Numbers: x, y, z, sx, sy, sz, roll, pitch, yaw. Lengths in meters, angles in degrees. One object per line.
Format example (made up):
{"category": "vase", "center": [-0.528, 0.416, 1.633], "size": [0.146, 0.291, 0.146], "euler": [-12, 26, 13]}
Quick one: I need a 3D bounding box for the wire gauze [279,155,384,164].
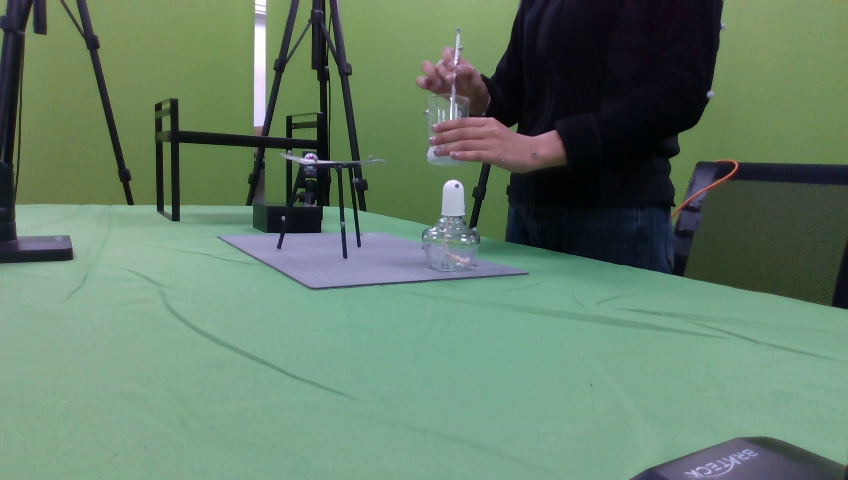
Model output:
{"category": "wire gauze", "center": [-0.134, -0.114, 0.875], "size": [0.122, 0.011, 0.124], "euler": [-2, 9, -30]}

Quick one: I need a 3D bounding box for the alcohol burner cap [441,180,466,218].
{"category": "alcohol burner cap", "center": [0.038, -0.054, 0.781], "size": [0.034, 0.048, 0.034], "euler": [0, 13, 0]}

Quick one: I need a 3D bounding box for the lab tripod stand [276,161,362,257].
{"category": "lab tripod stand", "center": [-0.143, -0.049, 0.884], "size": [0.148, 0.131, 0.148], "euler": [1, 9, 0]}

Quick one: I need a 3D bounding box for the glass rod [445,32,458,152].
{"category": "glass rod", "center": [0.044, -0.234, 0.947], "size": [0.008, 0.199, 0.008], "euler": [5, -10, 1]}

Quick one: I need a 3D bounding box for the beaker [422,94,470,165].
{"category": "beaker", "center": [0.038, -0.173, 0.955], "size": [0.074, 0.100, 0.083], "euler": [2, -4, -44]}

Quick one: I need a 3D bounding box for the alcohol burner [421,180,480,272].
{"category": "alcohol burner", "center": [0.036, -0.018, 0.785], "size": [0.078, 0.119, 0.078], "euler": [4, 6, 0]}
